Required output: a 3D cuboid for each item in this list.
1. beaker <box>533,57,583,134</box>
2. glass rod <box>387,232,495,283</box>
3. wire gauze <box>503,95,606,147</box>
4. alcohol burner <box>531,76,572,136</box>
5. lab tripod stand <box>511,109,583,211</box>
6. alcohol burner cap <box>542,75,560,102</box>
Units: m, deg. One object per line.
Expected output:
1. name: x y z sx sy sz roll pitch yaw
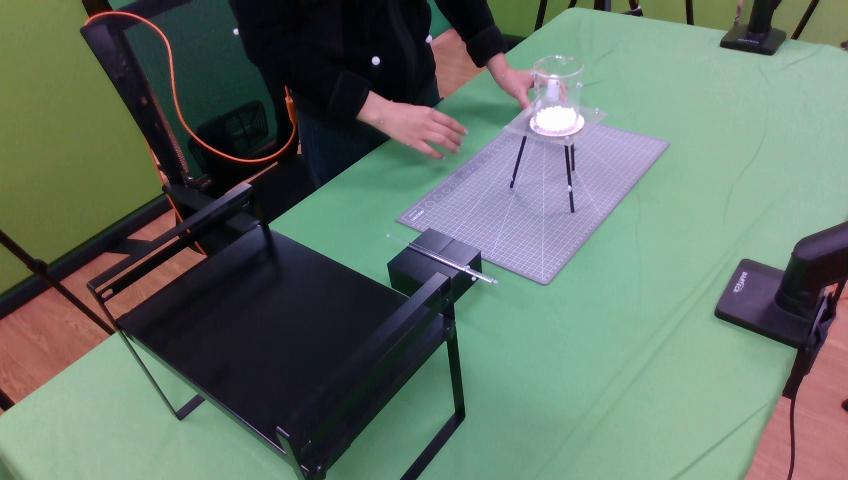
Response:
1. beaker: 0.208 -0.225 0.941 0.073 0.101 0.084 11 44 20
2. glass rod: 0.020 0.025 0.880 0.198 0.008 0.008 23 49 32
3. wire gauze: 0.212 -0.191 0.976 0.120 0.011 0.125 24 52 32
4. alcohol burner: 0.246 -0.262 1.171 0.078 0.120 0.077 -6 40 6
5. lab tripod stand: 0.220 -0.138 1.014 0.148 0.132 0.147 -3 41 3
6. alcohol burner cap: 0.243 -0.289 1.148 0.034 0.048 0.033 -1 41 1
